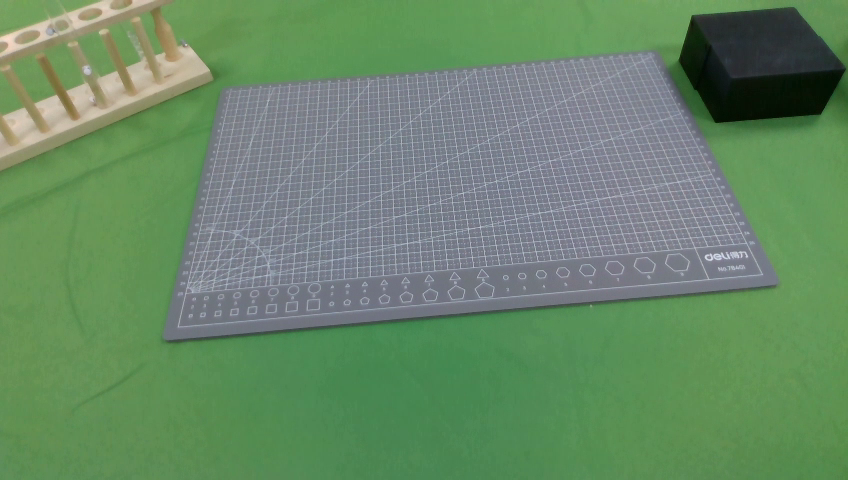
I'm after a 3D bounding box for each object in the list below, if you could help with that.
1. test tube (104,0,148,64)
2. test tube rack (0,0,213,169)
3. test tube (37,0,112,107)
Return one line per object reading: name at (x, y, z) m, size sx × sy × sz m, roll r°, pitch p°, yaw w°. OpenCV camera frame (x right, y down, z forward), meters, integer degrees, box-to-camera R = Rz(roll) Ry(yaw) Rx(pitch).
test tube at (-0.298, -0.232, 0.575) m, size 0.017 × 0.152 × 0.017 m, roll -5°, pitch 52°, yaw 7°
test tube rack at (-0.341, -0.158, 0.581) m, size 0.242 × 0.086 × 0.066 m, roll -30°, pitch 55°, yaw -19°
test tube at (-0.320, -0.183, 0.543) m, size 0.017 × 0.152 × 0.017 m, roll -1°, pitch 50°, yaw 2°
